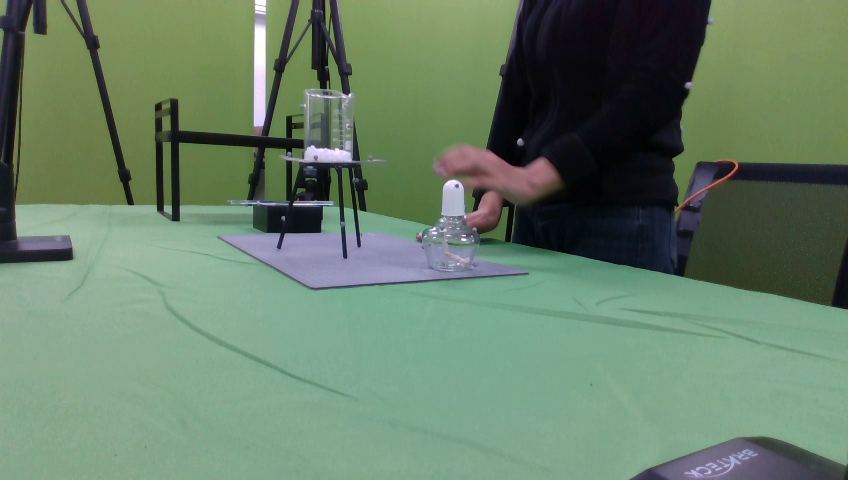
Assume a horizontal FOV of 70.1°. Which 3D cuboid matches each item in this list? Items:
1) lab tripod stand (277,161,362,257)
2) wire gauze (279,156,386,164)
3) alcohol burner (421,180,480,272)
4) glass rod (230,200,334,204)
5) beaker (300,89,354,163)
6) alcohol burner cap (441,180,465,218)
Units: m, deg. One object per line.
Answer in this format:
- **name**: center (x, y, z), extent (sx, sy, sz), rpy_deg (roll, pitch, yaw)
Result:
- **lab tripod stand**: center (-0.143, -0.049, 0.884), extent (0.148, 0.131, 0.148), rpy_deg (1, 9, 0)
- **wire gauze**: center (-0.134, -0.113, 0.875), extent (0.122, 0.011, 0.124), rpy_deg (-1, 6, -30)
- **alcohol burner**: center (0.036, -0.018, 0.785), extent (0.078, 0.119, 0.078), rpy_deg (4, 6, 0)
- **glass rod**: center (-0.265, -0.071, 1.144), extent (0.201, 0.008, 0.008), rpy_deg (-1, 8, -31)
- **beaker**: center (-0.137, -0.161, 0.869), extent (0.083, 0.100, 0.074), rpy_deg (9, 10, 42)
- **alcohol burner cap**: center (0.038, -0.054, 0.781), extent (0.034, 0.048, 0.034), rpy_deg (0, 13, 0)
